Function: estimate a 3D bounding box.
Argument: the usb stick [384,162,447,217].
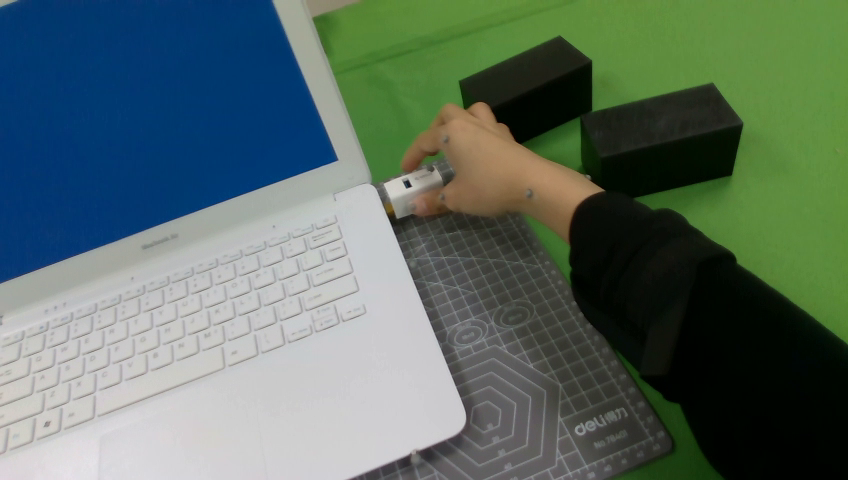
[{"bbox_3d":[-0.013,-0.038,0.482,0.059,0.027,0.021,-24,46,-3],"label":"usb stick"}]

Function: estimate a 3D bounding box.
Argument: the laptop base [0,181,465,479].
[{"bbox_3d":[-0.170,0.095,0.425,0.354,0.023,0.233,-21,51,-4],"label":"laptop base"}]

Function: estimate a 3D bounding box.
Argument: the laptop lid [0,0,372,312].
[{"bbox_3d":[-0.236,-0.080,0.437,0.357,0.244,0.013,-22,34,-3],"label":"laptop lid"}]
